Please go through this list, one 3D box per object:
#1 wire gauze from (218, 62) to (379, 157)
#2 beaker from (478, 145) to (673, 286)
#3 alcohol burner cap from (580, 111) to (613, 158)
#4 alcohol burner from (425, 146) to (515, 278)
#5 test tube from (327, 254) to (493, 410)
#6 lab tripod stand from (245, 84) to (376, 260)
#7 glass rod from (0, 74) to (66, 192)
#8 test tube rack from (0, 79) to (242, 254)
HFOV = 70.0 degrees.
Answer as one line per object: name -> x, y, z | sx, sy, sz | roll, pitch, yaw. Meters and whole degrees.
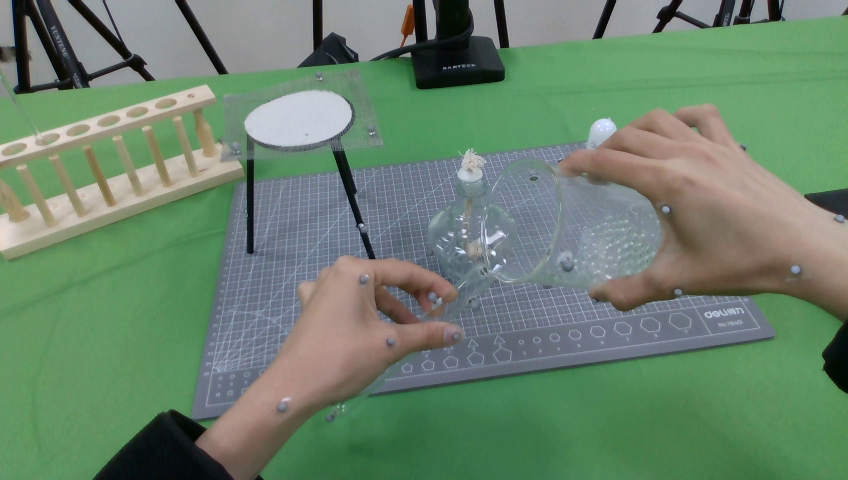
wire gauze -> -0.107, -0.108, 0.497 | 0.125, 0.011, 0.120 | -12, 43, -7
beaker -> 0.093, -0.008, 0.373 | 0.101, 0.084, 0.073 | 8, 40, -29
alcohol burner cap -> 0.186, -0.115, 0.650 | 0.034, 0.048, 0.033 | -2, 42, 2
alcohol burner -> 0.038, -0.026, 0.511 | 0.078, 0.120, 0.077 | -3, 41, 3
test tube -> -0.013, 0.063, 0.394 | 0.150, 0.017, 0.017 | -44, 42, 17
lab tripod stand -> -0.103, -0.059, 0.542 | 0.148, 0.133, 0.147 | -3, 44, 3
glass rod -> -0.376, -0.115, 0.566 | 0.008, 0.201, 0.008 | -2, 46, 2
test tube rack -> -0.324, -0.081, 0.624 | 0.243, 0.086, 0.066 | -24, 46, -21
